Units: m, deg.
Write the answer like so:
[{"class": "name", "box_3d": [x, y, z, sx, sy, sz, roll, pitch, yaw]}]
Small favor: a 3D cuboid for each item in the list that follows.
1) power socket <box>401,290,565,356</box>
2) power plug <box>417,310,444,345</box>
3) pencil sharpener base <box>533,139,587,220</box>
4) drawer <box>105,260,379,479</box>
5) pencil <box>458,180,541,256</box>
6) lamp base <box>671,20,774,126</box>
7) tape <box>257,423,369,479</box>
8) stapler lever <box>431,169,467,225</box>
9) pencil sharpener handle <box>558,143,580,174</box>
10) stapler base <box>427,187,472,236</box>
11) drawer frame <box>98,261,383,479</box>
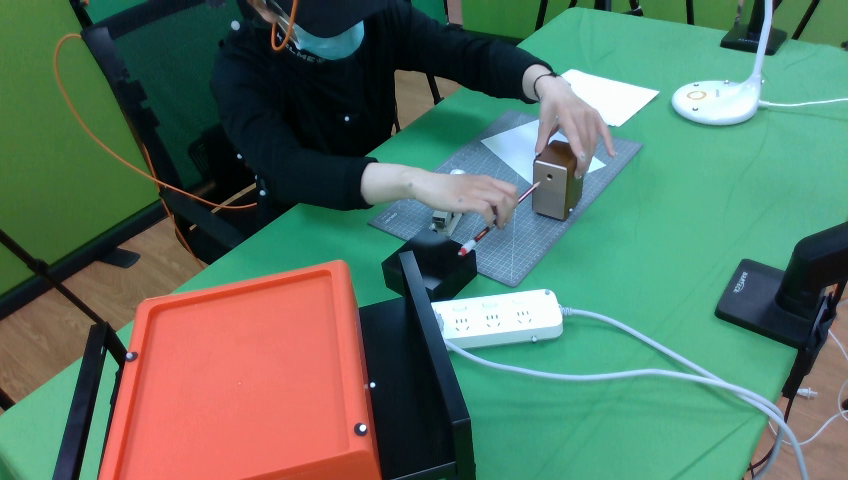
[{"class": "power socket", "box_3d": [0.080, 0.112, 0.822, 0.227, 0.033, 0.072, -6, 41, 0]}, {"class": "power plug", "box_3d": [0.006, 0.122, 0.785, 0.035, 0.053, 0.072, -1, 40, 8]}, {"class": "pencil sharpener base", "box_3d": [0.220, -0.099, 0.980, 0.061, 0.107, 0.077, 19, 46, 28]}, {"class": "drawer", "box_3d": [-0.150, 0.127, 0.525, 0.195, 0.073, 0.210, -11, 41, -5]}, {"class": "pencil", "box_3d": [0.115, -0.037, 0.886, 0.012, 0.012, 0.194, 28, 56, 35]}, {"class": "lamp base", "box_3d": [0.581, -0.332, 1.154, 0.179, 0.181, 0.160, 2, 41, 7]}, {"class": "tape", "box_3d": [-0.121, 0.262, 0.660, 0.117, 0.053, 0.116, -4, 40, 4]}, {"class": "stapler lever", "box_3d": [0.043, -0.075, 1.010, 0.026, 0.040, 0.118, 10, 44, 20]}, {"class": "pencil sharpener handle", "box_3d": [0.242, -0.140, 1.005, 0.036, 0.068, 0.031, 34, 51, 12]}, {"class": "stapler base", "box_3d": [0.045, -0.057, 1.028, 0.041, 0.024, 0.130, 10, 44, 20]}, {"class": "drawer frame", "box_3d": [-0.148, 0.129, 0.519, 0.202, 0.083, 0.212, -12, 41, -6]}]
